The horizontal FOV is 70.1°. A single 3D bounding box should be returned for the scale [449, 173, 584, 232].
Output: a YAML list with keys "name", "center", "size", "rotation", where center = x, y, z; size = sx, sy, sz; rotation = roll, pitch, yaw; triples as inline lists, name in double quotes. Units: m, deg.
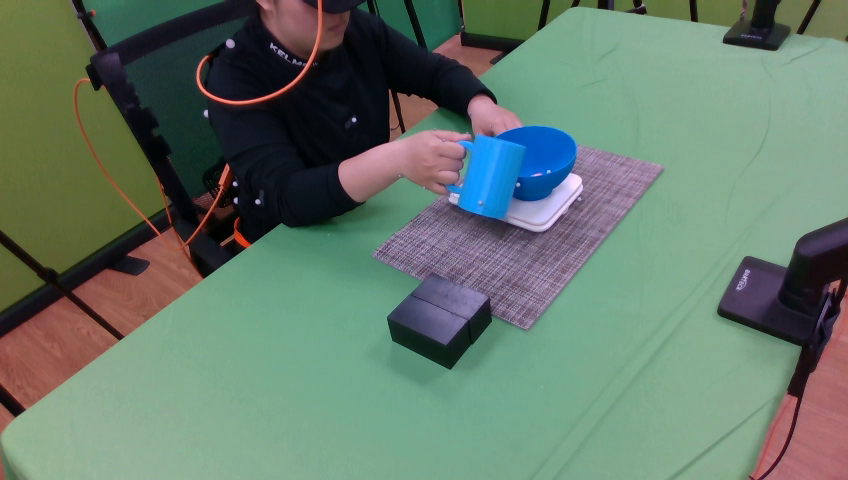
- name: "scale"
  center: [0.156, -0.085, 1.040]
  size: [0.199, 0.032, 0.149]
  rotation: [22, 49, 33]

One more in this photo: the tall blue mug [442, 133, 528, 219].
- name: "tall blue mug"
  center: [0.084, -0.096, 0.878]
  size: [0.107, 0.108, 0.077]
  rotation: [13, 13, -11]

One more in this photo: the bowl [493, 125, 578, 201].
- name: "bowl"
  center: [0.176, -0.117, 0.991]
  size: [0.151, 0.077, 0.150]
  rotation: [-6, 40, 5]
